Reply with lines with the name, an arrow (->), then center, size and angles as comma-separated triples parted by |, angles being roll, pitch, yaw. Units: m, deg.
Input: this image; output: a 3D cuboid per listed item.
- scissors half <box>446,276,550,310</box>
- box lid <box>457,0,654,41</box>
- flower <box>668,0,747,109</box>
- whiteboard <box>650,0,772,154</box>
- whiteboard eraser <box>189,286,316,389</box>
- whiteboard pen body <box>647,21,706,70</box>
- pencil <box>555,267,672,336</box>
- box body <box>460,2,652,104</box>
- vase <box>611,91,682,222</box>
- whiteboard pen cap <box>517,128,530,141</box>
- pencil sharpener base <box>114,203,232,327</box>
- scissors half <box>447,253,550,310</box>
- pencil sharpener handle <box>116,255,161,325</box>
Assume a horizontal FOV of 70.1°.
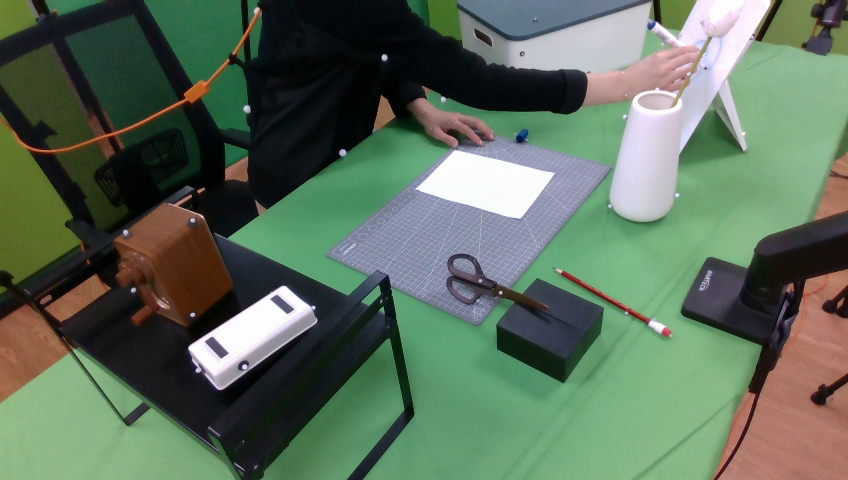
scissors half -> 0.098, 0.077, 0.827 | 0.174, 0.040, 0.013 | 6, 14, 44
box lid -> 0.285, -0.522, 1.323 | 0.373, 0.015, 0.261 | -21, 43, -16
flower -> 0.355, -0.187, 0.879 | 0.038, 0.362, 0.044 | 30, 48, 14
whiteboard -> 0.543, -0.298, 1.076 | 0.144, 0.305, 0.216 | 12, 40, -7
whiteboard eraser -> -0.166, 0.096, 0.593 | 0.113, 0.042, 0.055 | -36, 46, -29
whiteboard pen body -> 0.420, -0.318, 0.999 | 0.142, 0.017, 0.017 | 26, 34, -23
pencil -> 0.261, 0.082, 0.851 | 0.012, 0.012, 0.192 | -33, 45, -27
box body -> 0.291, -0.465, 1.371 | 0.365, 0.161, 0.252 | -22, 42, -16
vase -> 0.348, -0.125, 0.935 | 0.098, 0.201, 0.097 | -3, 40, 3
whiteboard pen cap -> 0.195, -0.207, 1.192 | 0.018, 0.018, 0.033 | 14, 40, 23
pencil sharpener base -> -0.261, 0.029, 0.635 | 0.061, 0.107, 0.077 | 18, 47, 27
scissors half -> 0.098, 0.058, 0.821 | 0.173, 0.040, 0.013 | 27, 33, 36
pencil sharpener handle -> -0.286, 0.050, 0.594 | 0.035, 0.068, 0.031 | 7, 41, 35
